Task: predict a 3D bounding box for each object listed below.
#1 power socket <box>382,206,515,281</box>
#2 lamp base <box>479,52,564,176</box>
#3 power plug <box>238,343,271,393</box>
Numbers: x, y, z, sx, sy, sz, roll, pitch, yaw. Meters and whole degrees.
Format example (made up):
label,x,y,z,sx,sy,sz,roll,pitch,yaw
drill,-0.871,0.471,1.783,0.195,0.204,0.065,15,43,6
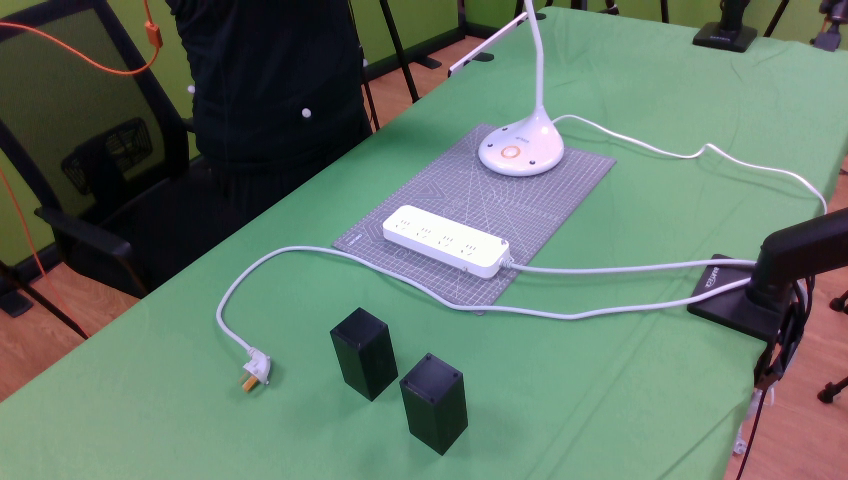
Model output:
label,x,y,z,sx,sy,sz,roll,pitch,yaw
power socket,0.032,0.002,0.950,0.225,0.033,0.072,21,49,29
lamp base,0.181,-0.235,1.094,0.159,0.181,0.179,18,44,27
power plug,-0.230,0.172,0.801,0.072,0.035,0.053,9,51,50
